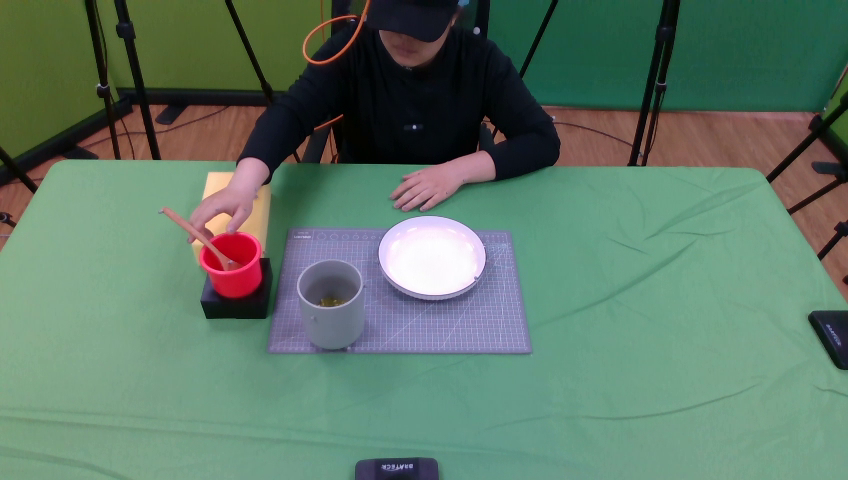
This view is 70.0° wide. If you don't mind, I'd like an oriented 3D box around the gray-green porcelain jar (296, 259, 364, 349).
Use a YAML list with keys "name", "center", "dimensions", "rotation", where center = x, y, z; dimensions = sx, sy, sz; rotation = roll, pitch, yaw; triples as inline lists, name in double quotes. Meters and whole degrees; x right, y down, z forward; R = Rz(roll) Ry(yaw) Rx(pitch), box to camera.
- name: "gray-green porcelain jar"
  center: [-0.152, 0.111, 1.003]
  dimensions: [0.106, 0.127, 0.105]
  rotation: [2, 46, -2]

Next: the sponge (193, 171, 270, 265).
- name: "sponge"
  center: [-0.372, -0.047, 1.189]
  dimensions: [0.118, 0.061, 0.205]
  rotation: [-3, 47, -6]

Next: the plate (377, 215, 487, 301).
- name: "plate"
  center: [0.014, 0.037, 1.147]
  dimensions: [0.208, 0.039, 0.206]
  rotation: [2, 46, -2]

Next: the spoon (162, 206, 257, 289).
- name: "spoon"
  center: [-0.355, 0.011, 1.007]
  dimensions: [0.194, 0.021, 0.041]
  rotation: [48, 47, -19]
